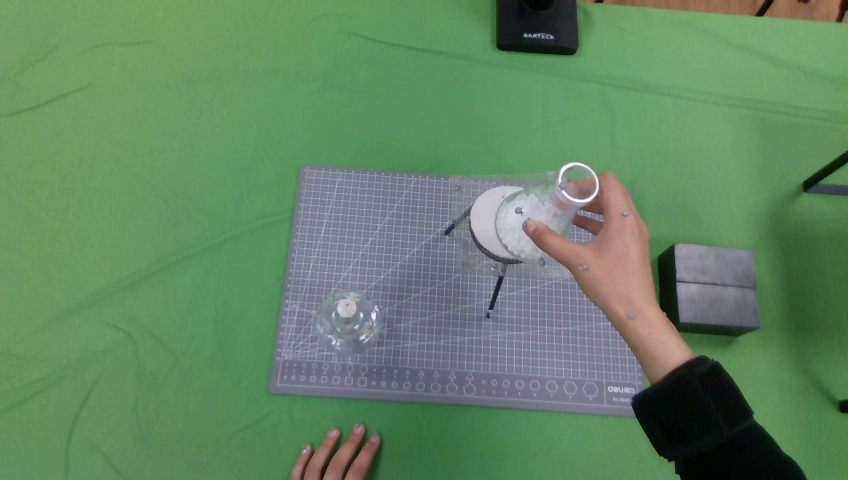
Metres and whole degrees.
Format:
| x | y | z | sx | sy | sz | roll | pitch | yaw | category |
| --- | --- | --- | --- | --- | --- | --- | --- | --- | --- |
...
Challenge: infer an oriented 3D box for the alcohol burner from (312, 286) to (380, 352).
| x | y | z | sx | sy | sz | roll | pitch | yaw | category |
| --- | --- | --- | --- | --- | --- | --- | --- | --- | --- |
| -0.089 | 0.085 | 0.686 | 0.078 | 0.119 | 0.077 | 2 | 69 | -5 | alcohol burner |

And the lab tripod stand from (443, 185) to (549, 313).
| x | y | z | sx | sy | sz | roll | pitch | yaw | category |
| --- | --- | --- | --- | --- | --- | --- | --- | --- | --- |
| 0.091 | 0.000 | 0.718 | 0.148 | 0.132 | 0.147 | 2 | 69 | -4 | lab tripod stand |

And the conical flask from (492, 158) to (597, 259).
| x | y | z | sx | sy | sz | roll | pitch | yaw | category |
| --- | --- | --- | --- | --- | --- | --- | --- | --- | --- |
| 0.112 | -0.032 | 0.544 | 0.075 | 0.122 | 0.075 | 3 | 73 | -10 | conical flask |

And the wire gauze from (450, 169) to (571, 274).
| x | y | z | sx | sy | sz | roll | pitch | yaw | category |
| --- | --- | --- | --- | --- | --- | --- | --- | --- | --- |
| 0.093 | -0.021 | 0.654 | 0.125 | 0.011 | 0.120 | 0 | 71 | -5 | wire gauze |
